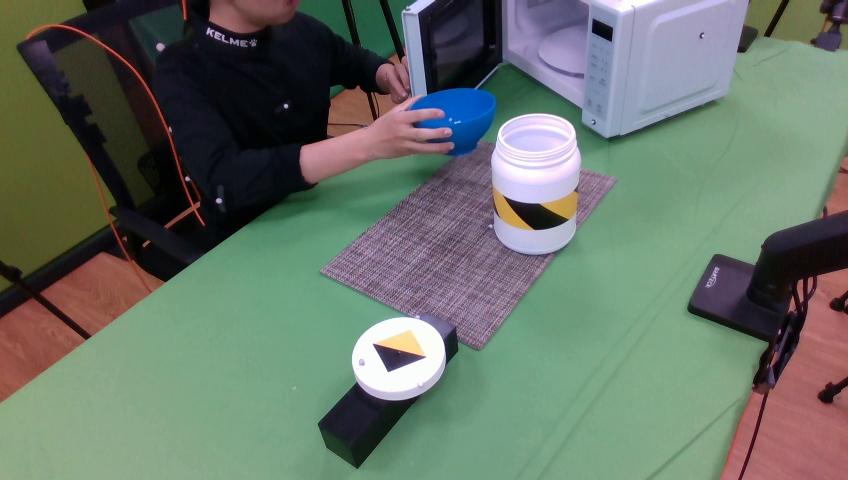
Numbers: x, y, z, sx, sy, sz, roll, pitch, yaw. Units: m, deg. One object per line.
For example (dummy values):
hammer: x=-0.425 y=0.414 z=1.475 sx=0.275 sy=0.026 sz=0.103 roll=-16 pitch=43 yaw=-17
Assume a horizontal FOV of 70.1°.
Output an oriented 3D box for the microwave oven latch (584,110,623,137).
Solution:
microwave oven latch: x=0.337 y=-0.222 z=1.142 sx=0.030 sy=0.029 sz=0.078 roll=-21 pitch=42 yaw=-14

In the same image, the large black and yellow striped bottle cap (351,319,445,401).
large black and yellow striped bottle cap: x=-0.031 y=0.143 z=0.735 sx=0.115 sy=0.019 sz=0.114 roll=-3 pitch=40 yaw=3

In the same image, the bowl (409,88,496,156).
bowl: x=0.054 y=-0.197 z=1.043 sx=0.151 sy=0.077 sz=0.150 roll=-7 pitch=35 yaw=5

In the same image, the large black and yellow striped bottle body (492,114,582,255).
large black and yellow striped bottle body: x=0.169 y=-0.083 z=0.912 sx=0.131 sy=0.185 sz=0.130 roll=-4 pitch=41 yaw=4

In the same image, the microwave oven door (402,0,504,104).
microwave oven door: x=0.073 y=-0.411 z=1.243 sx=0.039 sy=0.245 sz=0.356 roll=17 pitch=46 yaw=26

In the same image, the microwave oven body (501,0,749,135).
microwave oven body: x=0.382 y=-0.444 z=1.246 sx=0.327 sy=0.261 sz=0.437 roll=-22 pitch=42 yaw=-16
